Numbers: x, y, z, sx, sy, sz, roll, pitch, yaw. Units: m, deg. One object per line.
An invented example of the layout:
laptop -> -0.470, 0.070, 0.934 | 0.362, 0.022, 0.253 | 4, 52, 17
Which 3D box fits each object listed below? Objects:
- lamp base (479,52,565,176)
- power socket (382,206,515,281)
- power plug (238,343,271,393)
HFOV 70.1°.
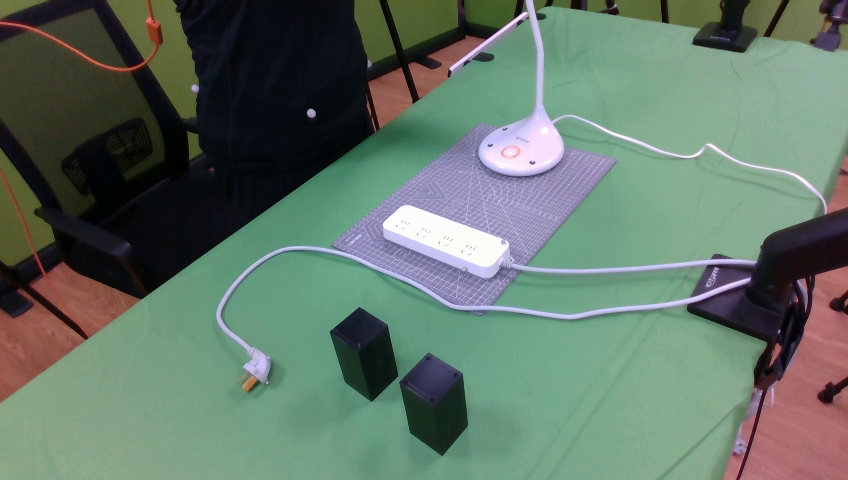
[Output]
lamp base -> 0.181, -0.235, 1.093 | 0.159, 0.181, 0.179 | 18, 44, 27
power socket -> 0.032, 0.002, 0.950 | 0.225, 0.033, 0.072 | 21, 49, 29
power plug -> -0.230, 0.172, 0.801 | 0.072, 0.035, 0.053 | 9, 51, 50
